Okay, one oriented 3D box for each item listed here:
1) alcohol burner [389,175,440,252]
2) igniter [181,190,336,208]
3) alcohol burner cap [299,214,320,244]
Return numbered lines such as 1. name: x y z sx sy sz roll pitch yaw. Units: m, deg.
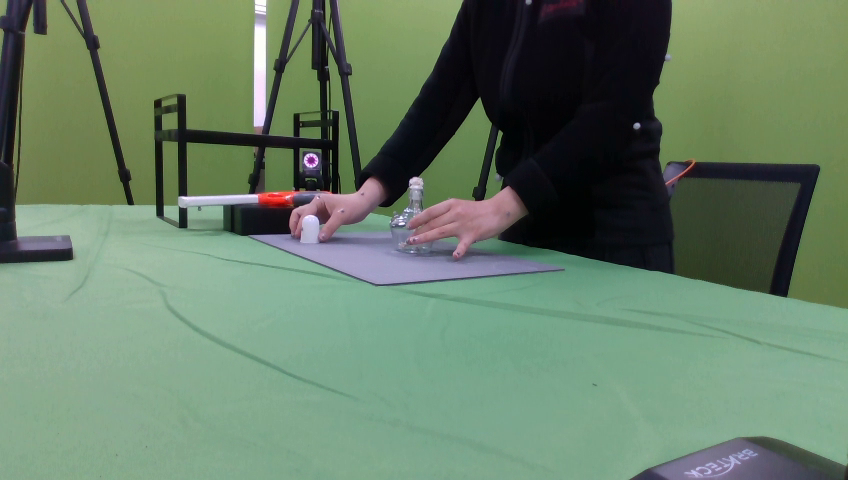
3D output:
1. alcohol burner: -0.013 -0.041 0.929 0.078 0.119 0.078 4 8 0
2. igniter: -0.294 -0.076 1.103 0.278 0.025 0.057 -5 12 -33
3. alcohol burner cap: -0.185 -0.019 0.979 0.034 0.048 0.034 3 10 0
